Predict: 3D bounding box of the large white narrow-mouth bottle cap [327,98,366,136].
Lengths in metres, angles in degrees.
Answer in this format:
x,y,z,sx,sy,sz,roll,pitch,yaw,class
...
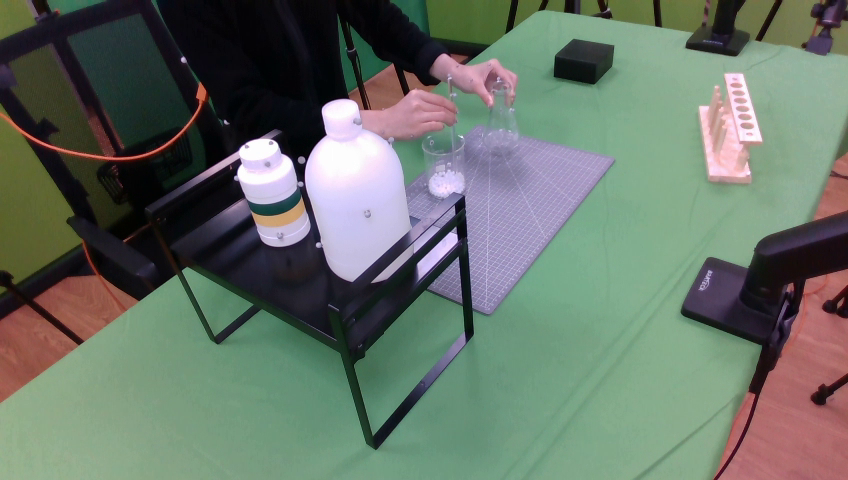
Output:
x,y,z,sx,sy,sz,roll,pitch,yaw,class
-0.075,-0.119,0.581,0.038,0.024,0.037,-3,40,3,large white narrow-mouth bottle cap

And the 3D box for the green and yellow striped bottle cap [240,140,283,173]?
x,y,z,sx,sy,sz,roll,pitch,yaw,class
-0.183,-0.094,0.679,0.045,0.020,0.045,-4,38,4,green and yellow striped bottle cap

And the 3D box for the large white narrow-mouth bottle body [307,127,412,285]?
x,y,z,sx,sy,sz,roll,pitch,yaw,class
-0.070,-0.051,0.638,0.102,0.195,0.101,-3,40,3,large white narrow-mouth bottle body

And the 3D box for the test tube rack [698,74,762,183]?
x,y,z,sx,sy,sz,roll,pitch,yaw,class
0.547,-0.208,1.094,0.066,0.085,0.242,5,42,15,test tube rack

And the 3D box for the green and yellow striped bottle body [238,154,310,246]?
x,y,z,sx,sy,sz,roll,pitch,yaw,class
-0.178,-0.056,0.714,0.063,0.120,0.063,-4,40,4,green and yellow striped bottle body

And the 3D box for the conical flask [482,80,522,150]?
x,y,z,sx,sy,sz,roll,pitch,yaw,class
0.143,-0.232,1.116,0.075,0.122,0.075,-4,46,4,conical flask

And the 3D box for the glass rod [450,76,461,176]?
x,y,z,sx,sy,sz,roll,pitch,yaw,class
0.054,-0.187,1.026,0.008,0.200,0.008,-4,44,4,glass rod

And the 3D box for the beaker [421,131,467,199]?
x,y,z,sx,sy,sz,roll,pitch,yaw,class
0.040,-0.130,1.060,0.084,0.100,0.073,-24,44,-20,beaker
